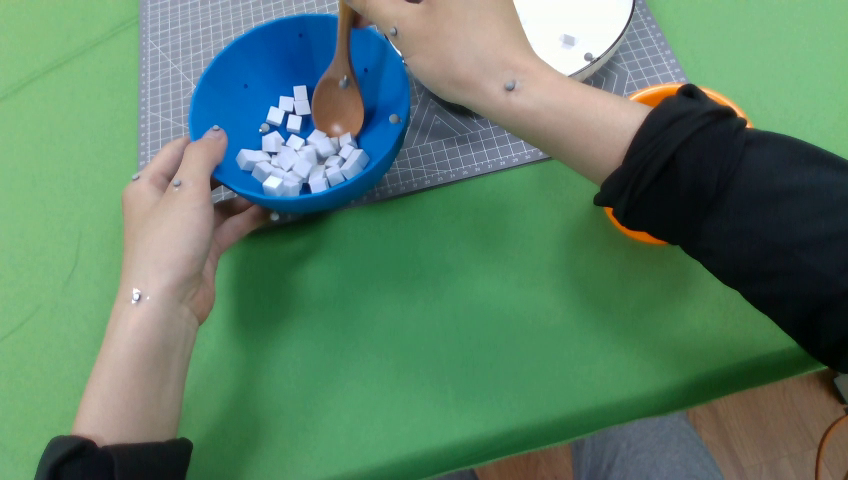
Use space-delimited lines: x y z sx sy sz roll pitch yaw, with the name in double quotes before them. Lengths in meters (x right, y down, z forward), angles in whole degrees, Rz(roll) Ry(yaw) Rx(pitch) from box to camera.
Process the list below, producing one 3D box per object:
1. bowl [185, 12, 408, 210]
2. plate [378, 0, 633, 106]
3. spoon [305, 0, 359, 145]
"bowl" -0.081 -0.079 0.436 0.151 0.077 0.150 -2 67 6
"plate" 0.065 -0.194 0.512 0.209 0.038 0.207 -3 64 6
"spoon" -0.050 -0.133 0.383 0.041 0.195 0.021 28 54 3
